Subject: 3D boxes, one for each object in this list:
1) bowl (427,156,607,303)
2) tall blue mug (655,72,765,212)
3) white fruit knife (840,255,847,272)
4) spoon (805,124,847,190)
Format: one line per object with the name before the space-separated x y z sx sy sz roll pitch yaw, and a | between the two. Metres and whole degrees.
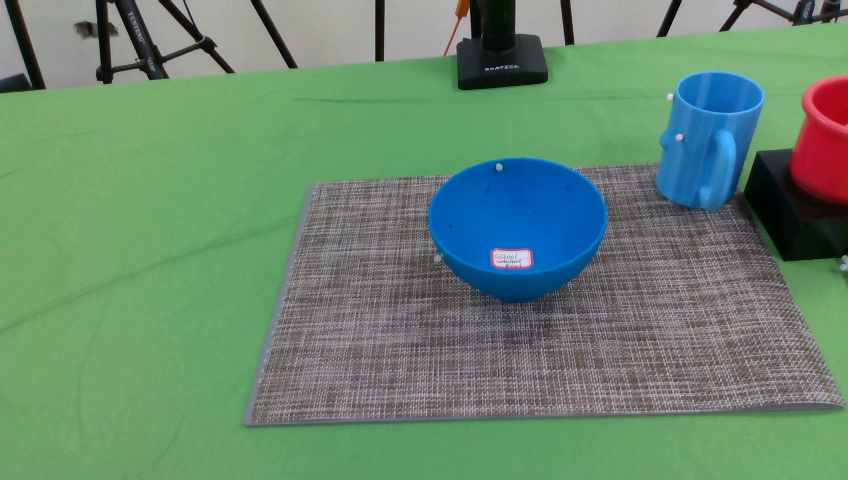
bowl | 0.081 0.002 0.536 0.151 0.077 0.150 -4 44 4
tall blue mug | 0.277 -0.085 0.576 0.078 0.109 0.106 -17 44 -10
white fruit knife | 0.369 0.084 0.464 0.027 0.016 0.205 17 40 -13
spoon | 0.391 -0.127 0.511 0.041 0.022 0.194 38 104 39
